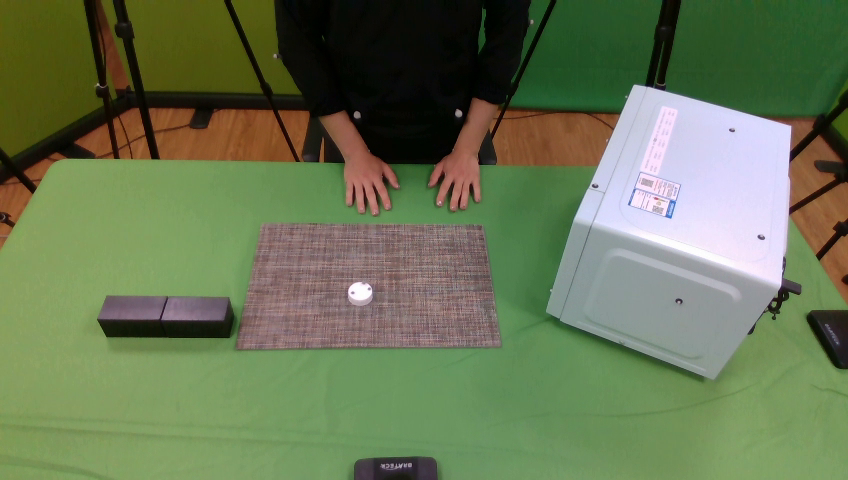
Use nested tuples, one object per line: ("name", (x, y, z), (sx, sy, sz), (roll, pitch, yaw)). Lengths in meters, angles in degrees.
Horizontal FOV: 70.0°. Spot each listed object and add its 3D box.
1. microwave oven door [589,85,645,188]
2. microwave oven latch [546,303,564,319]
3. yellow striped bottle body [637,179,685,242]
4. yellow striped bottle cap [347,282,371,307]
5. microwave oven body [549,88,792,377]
("microwave oven door", (0.341, -0.107, 1.149), (0.039, 0.245, 0.354), (20, 48, 15))
("microwave oven latch", (0.242, 0.102, 1.081), (0.030, 0.029, 0.079), (21, 48, 17))
("yellow striped bottle body", (0.442, -0.057, 1.126), (0.063, 0.121, 0.062), (1, 47, -1))
("yellow striped bottle cap", (-0.117, 0.098, 1.093), (0.044, 0.019, 0.044), (3, 46, -3))
("microwave oven body", (0.456, -0.028, 1.088), (0.325, 0.261, 0.440), (20, 47, 16))
